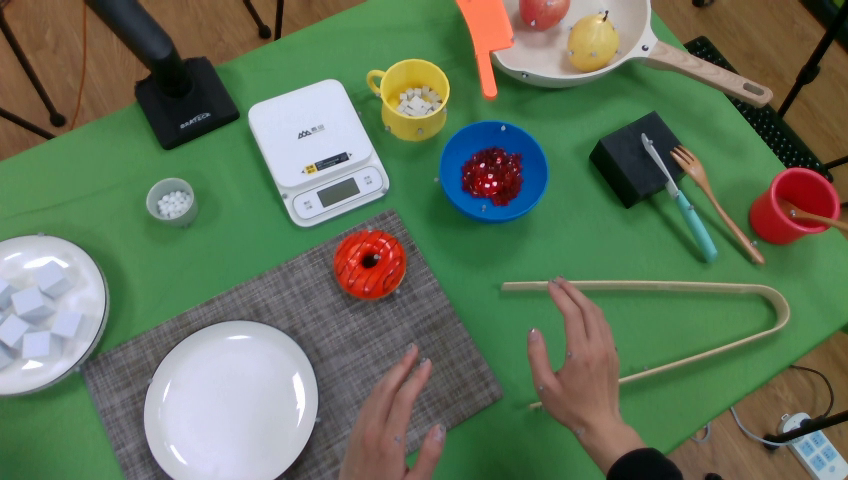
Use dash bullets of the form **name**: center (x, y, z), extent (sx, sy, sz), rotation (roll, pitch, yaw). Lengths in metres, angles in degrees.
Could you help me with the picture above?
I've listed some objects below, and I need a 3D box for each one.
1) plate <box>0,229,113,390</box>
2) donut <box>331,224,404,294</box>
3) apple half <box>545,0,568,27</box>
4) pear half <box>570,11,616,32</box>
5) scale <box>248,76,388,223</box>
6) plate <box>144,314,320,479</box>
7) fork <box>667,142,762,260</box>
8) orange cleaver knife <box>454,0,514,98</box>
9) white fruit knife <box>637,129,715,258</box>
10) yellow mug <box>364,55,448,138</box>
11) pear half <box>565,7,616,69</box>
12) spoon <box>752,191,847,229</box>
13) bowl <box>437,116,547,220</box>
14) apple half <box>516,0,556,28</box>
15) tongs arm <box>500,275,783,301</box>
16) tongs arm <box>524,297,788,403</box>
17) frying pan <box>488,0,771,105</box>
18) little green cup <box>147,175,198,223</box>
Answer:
- **plate**: center (-0.501, 0.088, 0.771), extent (0.208, 0.039, 0.206), rotation (1, 70, -3)
- **donut**: center (-0.075, 0.025, 0.811), extent (0.099, 0.048, 0.098), rotation (1, 72, -2)
- **apple half**: center (0.195, -0.383, 0.954), extent (0.053, 0.075, 0.080), rotation (-37, 73, -18)
- **pear half**: center (0.259, -0.331, 0.930), extent (0.070, 0.088, 0.031), rotation (6, 72, 1)
- **scale**: center (-0.154, -0.134, 0.873), extent (0.149, 0.032, 0.199), rotation (-24, 74, -10)
- **plate**: center (-0.232, 0.196, 0.745), extent (0.209, 0.038, 0.207), rotation (1, 71, -3)
- **fork**: center (0.415, -0.054, 0.862), extent (0.028, 0.018, 0.207), rotation (-37, 92, -17)
- **orange cleaver knife**: center (0.092, -0.305, 0.890), extent (0.077, 0.012, 0.210), rotation (-10, 72, -6)
- **white fruit knife**: center (0.354, -0.066, 0.854), extent (0.016, 0.027, 0.207), rotation (-30, 90, -12)
- **yellow mug**: center (-0.031, -0.217, 0.891), extent (0.130, 0.064, 0.099), rotation (27, 71, 7)
- **pear half**: center (0.253, -0.301, 0.910), extent (0.076, 0.110, 0.055), rotation (7, 70, 3)
- **spoon**: center (0.536, -0.030, 0.818), extent (0.041, 0.022, 0.192), rotation (-33, 31, -14)
- **bowl**: center (0.090, -0.088, 0.847), extent (0.151, 0.077, 0.150), rotation (1, 71, -3)
- **apple half**: center (0.166, -0.361, 0.943), extent (0.033, 0.082, 0.081), rotation (-36, 76, -19)
- **tongs arm**: center (0.297, 0.064, 0.830), extent (0.388, 0.028, 0.028), rotation (2, 64, -3)
- **tongs arm**: center (0.310, 0.143, 0.801), extent (0.385, 0.027, 0.050), rotation (-12, 69, -8)
- **frying pan**: center (0.285, -0.316, 0.924), extent (0.485, 0.103, 0.306), rotation (30, 72, 16)
- **little green cup**: center (-0.341, -0.054, 0.830), extent (0.061, 0.039, 0.061), rotation (1, 70, -2)
